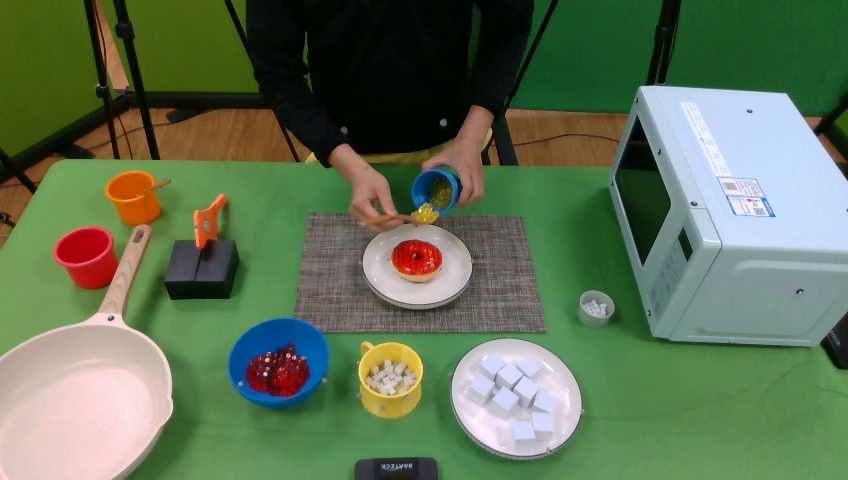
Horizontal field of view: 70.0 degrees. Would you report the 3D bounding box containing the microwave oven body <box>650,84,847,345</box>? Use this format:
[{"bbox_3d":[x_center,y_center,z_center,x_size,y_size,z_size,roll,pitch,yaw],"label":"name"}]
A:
[{"bbox_3d":[0.569,-0.054,1.115,0.326,0.261,0.439,2,46,-1],"label":"microwave oven body"}]

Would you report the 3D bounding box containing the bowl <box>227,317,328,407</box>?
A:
[{"bbox_3d":[-0.222,0.203,0.947,0.151,0.077,0.150,2,46,-2],"label":"bowl"}]

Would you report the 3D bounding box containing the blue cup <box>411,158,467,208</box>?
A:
[{"bbox_3d":[0.036,-0.099,1.145,0.092,0.092,0.100,33,9,25],"label":"blue cup"}]

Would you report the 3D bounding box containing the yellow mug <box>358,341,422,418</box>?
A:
[{"bbox_3d":[-0.063,0.210,0.960,0.100,0.064,0.130,-29,54,-28],"label":"yellow mug"}]

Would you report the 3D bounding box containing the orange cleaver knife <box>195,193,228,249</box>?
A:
[{"bbox_3d":[-0.406,-0.041,1.163,0.012,0.077,0.210,0,18,-3],"label":"orange cleaver knife"}]

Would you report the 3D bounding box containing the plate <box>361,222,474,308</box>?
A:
[{"bbox_3d":[-0.011,0.049,1.130,0.209,0.038,0.208,2,46,-2],"label":"plate"}]

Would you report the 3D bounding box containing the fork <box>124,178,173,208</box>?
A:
[{"bbox_3d":[-0.525,-0.089,1.153,0.207,0.019,0.028,-18,27,45],"label":"fork"}]

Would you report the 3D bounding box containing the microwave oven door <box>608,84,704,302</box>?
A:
[{"bbox_3d":[0.424,-0.096,1.138,0.039,0.245,0.353,2,47,-1],"label":"microwave oven door"}]

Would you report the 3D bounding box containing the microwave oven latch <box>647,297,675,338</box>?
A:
[{"bbox_3d":[0.413,0.133,1.060,0.030,0.029,0.078,5,46,2],"label":"microwave oven latch"}]

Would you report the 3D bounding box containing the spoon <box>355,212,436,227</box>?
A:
[{"bbox_3d":[-0.046,-0.035,1.021,0.041,0.021,0.194,33,21,33],"label":"spoon"}]

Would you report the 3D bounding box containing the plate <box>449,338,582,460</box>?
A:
[{"bbox_3d":[0.141,0.251,0.955,0.208,0.039,0.206,2,46,-2],"label":"plate"}]

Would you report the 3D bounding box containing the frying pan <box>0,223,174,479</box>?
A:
[{"bbox_3d":[-0.505,0.169,0.941,0.307,0.103,0.485,5,54,-1],"label":"frying pan"}]

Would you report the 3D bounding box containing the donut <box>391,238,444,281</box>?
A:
[{"bbox_3d":[-0.012,0.035,1.128,0.099,0.048,0.098,3,43,-2],"label":"donut"}]

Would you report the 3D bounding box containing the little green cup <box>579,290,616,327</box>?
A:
[{"bbox_3d":[0.308,0.124,1.086,0.061,0.039,0.061,1,45,-1],"label":"little green cup"}]
